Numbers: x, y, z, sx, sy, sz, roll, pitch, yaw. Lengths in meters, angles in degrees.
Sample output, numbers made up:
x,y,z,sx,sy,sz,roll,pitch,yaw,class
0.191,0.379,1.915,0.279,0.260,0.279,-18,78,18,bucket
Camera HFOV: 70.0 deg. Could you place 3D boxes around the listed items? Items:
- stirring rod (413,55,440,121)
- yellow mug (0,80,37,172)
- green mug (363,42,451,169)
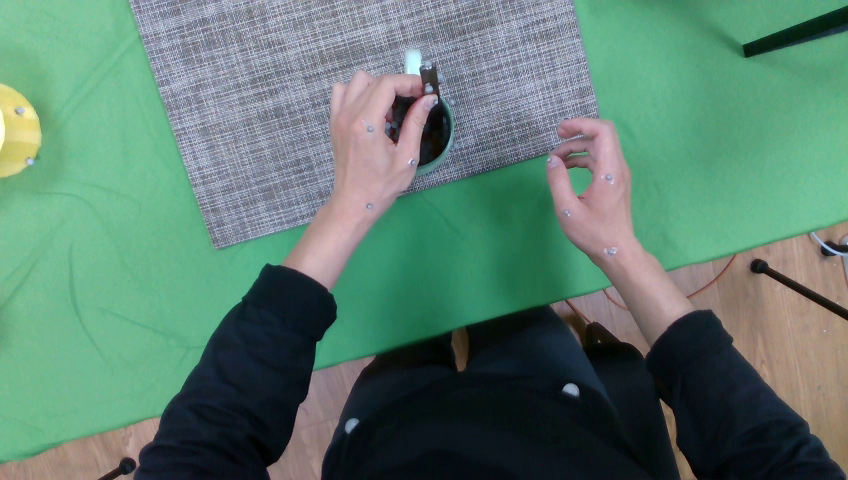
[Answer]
x,y,z,sx,sy,sz,roll,pitch,yaw,class
0.004,-0.134,0.551,0.014,0.176,0.006,-20,85,3,stirring rod
-0.460,-0.102,0.606,0.100,0.064,0.131,16,97,-7,yellow mug
-0.017,-0.134,0.610,0.092,0.104,0.125,0,98,-3,green mug
